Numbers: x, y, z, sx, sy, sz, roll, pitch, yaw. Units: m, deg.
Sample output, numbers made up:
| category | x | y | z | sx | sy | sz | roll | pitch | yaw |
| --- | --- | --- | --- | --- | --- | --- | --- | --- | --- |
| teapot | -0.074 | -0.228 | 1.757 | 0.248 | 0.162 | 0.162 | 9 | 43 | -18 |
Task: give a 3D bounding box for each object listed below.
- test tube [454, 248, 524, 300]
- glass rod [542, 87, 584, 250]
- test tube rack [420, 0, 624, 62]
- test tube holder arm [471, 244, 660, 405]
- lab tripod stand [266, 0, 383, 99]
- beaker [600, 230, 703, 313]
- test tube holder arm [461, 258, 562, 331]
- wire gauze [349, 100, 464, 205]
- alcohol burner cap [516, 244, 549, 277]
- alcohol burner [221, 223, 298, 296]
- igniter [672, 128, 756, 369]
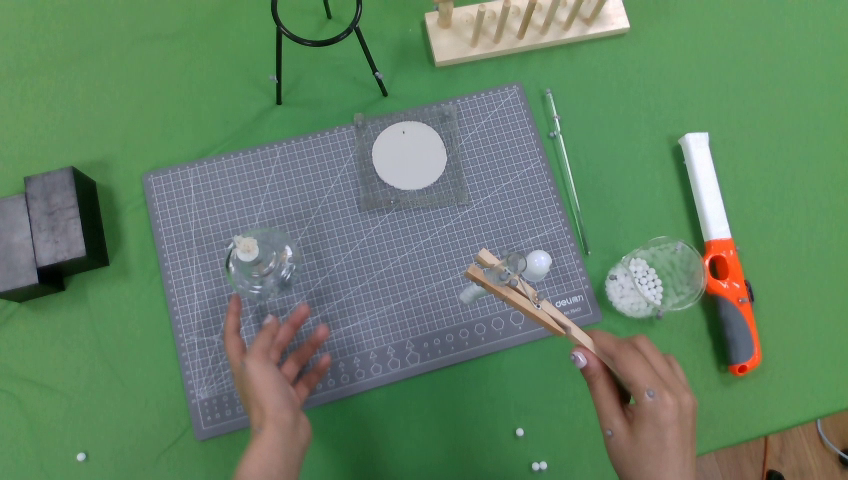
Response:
| category | x | y | z | sx | sy | sz | roll | pitch | yaw |
| --- | --- | --- | --- | --- | --- | --- | --- | --- | --- |
| test tube | 0.048 | 0.030 | 0.481 | 0.017 | 0.150 | 0.017 | 3 | 75 | -10 |
| glass rod | 0.162 | -0.085 | 0.705 | 0.008 | 0.008 | 0.199 | -10 | 81 | -5 |
| test tube rack | 0.121 | -0.279 | 0.706 | 0.242 | 0.085 | 0.066 | -12 | 78 | -5 |
| test tube holder arm | 0.107 | 0.064 | 0.459 | 0.178 | 0.015 | 0.013 | 39 | 76 | 2 |
| lab tripod stand | -0.115 | -0.219 | 0.658 | 0.148 | 0.132 | 0.148 | 1 | 79 | -3 |
| beaker | 0.230 | 0.036 | 0.636 | 0.084 | 0.100 | 0.073 | 16 | 76 | 2 |
| test tube holder arm | 0.067 | 0.042 | 0.458 | 0.088 | 0.015 | 0.010 | 32 | 76 | 0 |
| wire gauze | -0.021 | -0.101 | 0.698 | 0.125 | 0.011 | 0.121 | -4 | 79 | -4 |
| alcohol burner cap | 0.120 | 0.020 | 0.660 | 0.034 | 0.048 | 0.033 | 1 | 77 | -2 |
| alcohol burner | -0.170 | 0.016 | 0.611 | 0.078 | 0.119 | 0.077 | 0 | 77 | 0 |
| igniter | 0.327 | 0.004 | 0.684 | 0.057 | 0.025 | 0.275 | -5 | 78 | -14 |
